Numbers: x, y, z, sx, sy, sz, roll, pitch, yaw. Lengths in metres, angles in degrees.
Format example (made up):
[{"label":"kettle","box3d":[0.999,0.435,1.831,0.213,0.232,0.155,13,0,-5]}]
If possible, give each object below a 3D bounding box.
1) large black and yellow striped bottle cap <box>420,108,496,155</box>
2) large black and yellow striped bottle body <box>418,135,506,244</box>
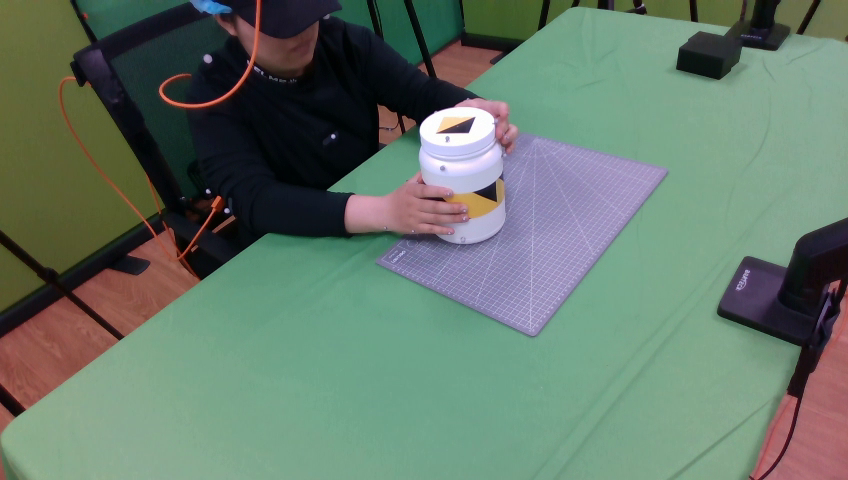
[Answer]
[{"label":"large black and yellow striped bottle cap","box3d":[0.050,-0.164,0.905,0.115,0.019,0.114,-5,38,5]},{"label":"large black and yellow striped bottle body","box3d":[0.062,-0.100,0.959,0.131,0.185,0.130,-5,40,5]}]
